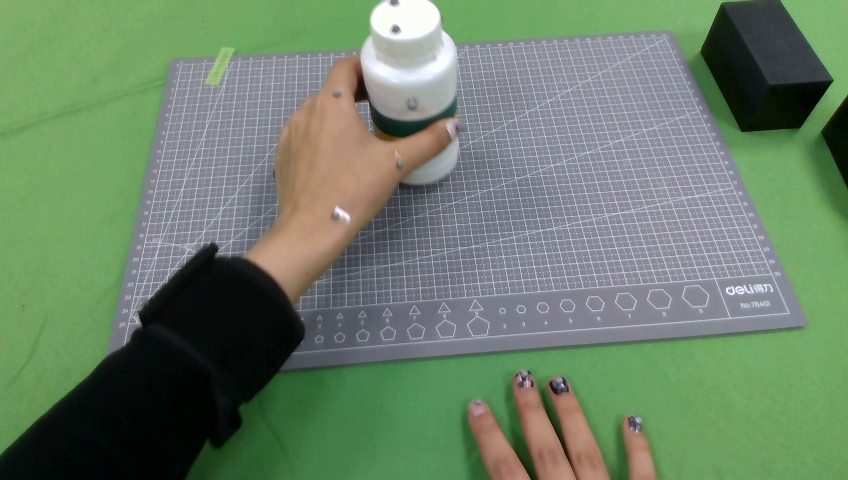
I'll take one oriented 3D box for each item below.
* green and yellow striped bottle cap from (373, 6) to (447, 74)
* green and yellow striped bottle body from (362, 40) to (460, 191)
[{"bbox_3d":[-0.009,-0.124,0.373,0.045,0.020,0.045,-2,56,4],"label":"green and yellow striped bottle cap"},{"bbox_3d":[-0.007,-0.094,0.416,0.063,0.121,0.062,-2,55,3],"label":"green and yellow striped bottle body"}]
